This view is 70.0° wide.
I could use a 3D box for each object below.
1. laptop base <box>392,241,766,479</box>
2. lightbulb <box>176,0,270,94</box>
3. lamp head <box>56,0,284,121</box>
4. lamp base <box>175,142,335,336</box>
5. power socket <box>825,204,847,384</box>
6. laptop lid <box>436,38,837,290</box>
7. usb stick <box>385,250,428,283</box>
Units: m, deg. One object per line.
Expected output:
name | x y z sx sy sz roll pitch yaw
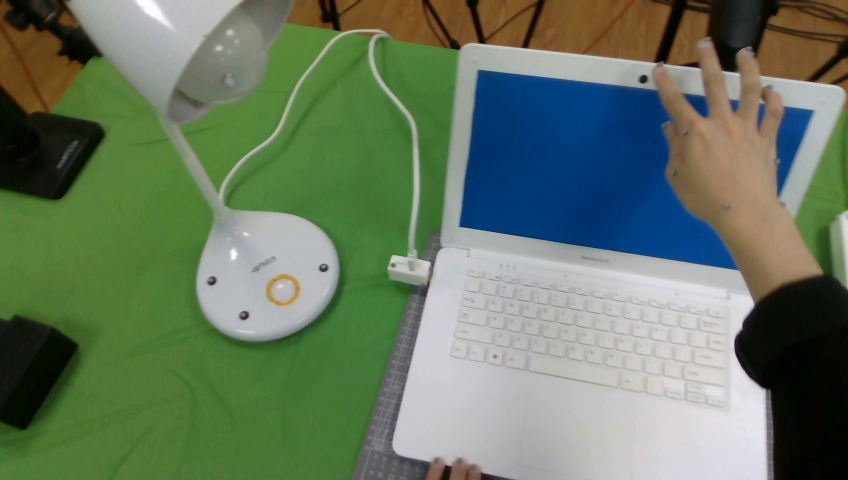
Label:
laptop base | 0.161 0.131 0.625 0.354 0.023 0.234 9 65 8
lightbulb | -0.132 -0.138 0.351 0.059 0.059 0.108 -27 102 -11
lamp head | -0.161 -0.148 0.357 0.123 0.112 0.112 38 67 -4
lamp base | -0.195 -0.010 0.630 0.178 0.182 0.160 37 68 24
power socket | 0.475 0.057 0.642 0.072 0.033 0.225 10 62 8
laptop lid | 0.192 -0.069 0.619 0.356 0.243 0.013 7 31 8
usb stick | -0.013 0.031 0.675 0.059 0.027 0.021 13 57 7
